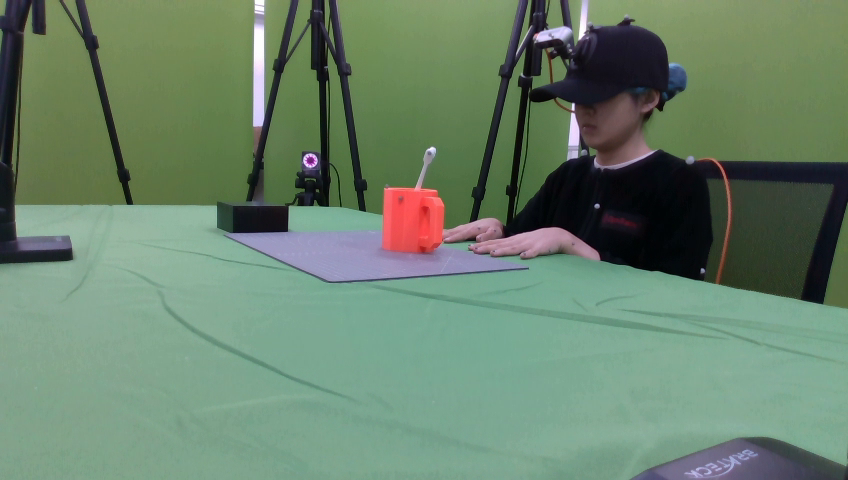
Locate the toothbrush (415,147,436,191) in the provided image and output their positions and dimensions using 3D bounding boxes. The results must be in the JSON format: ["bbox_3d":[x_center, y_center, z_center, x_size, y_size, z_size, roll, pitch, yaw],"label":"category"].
[{"bbox_3d":[-0.012,-0.068,0.933,0.014,0.181,0.016,24,41,3],"label":"toothbrush"}]

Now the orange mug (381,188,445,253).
[{"bbox_3d":[-0.012,-0.031,0.942,0.084,0.100,0.125,-2,4,-37],"label":"orange mug"}]
